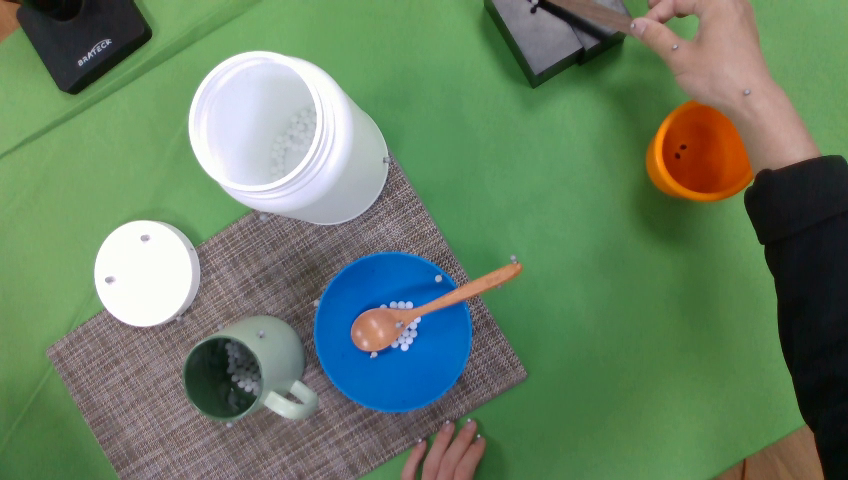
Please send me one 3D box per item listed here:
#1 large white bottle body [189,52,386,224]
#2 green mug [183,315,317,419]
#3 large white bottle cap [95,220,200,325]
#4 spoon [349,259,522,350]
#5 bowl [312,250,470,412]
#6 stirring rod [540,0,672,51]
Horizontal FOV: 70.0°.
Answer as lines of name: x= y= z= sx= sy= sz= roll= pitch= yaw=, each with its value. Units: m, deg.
large white bottle body: x=-0.116 y=-0.085 z=0.549 sx=0.130 sy=0.185 sz=0.130 roll=0 pitch=87 yaw=9
green mug: x=-0.162 y=0.133 z=0.600 sx=0.125 sy=0.105 sz=0.092 roll=32 pitch=94 yaw=5
large white bottle cap: x=-0.301 y=0.035 z=0.658 sx=0.114 sy=0.018 sz=0.114 roll=0 pitch=90 yaw=7
spoon: x=0.007 y=0.061 z=0.563 sx=0.193 sy=0.021 sz=0.041 roll=-26 pitch=90 yaw=30
bowl: x=-0.026 y=0.084 z=0.596 sx=0.151 sy=0.077 sz=0.151 roll=0 pitch=91 yaw=7
stirring rod: x=0.138 y=-0.209 z=0.544 sx=0.175 sy=0.006 sz=0.014 roll=29 pitch=120 yaw=14
